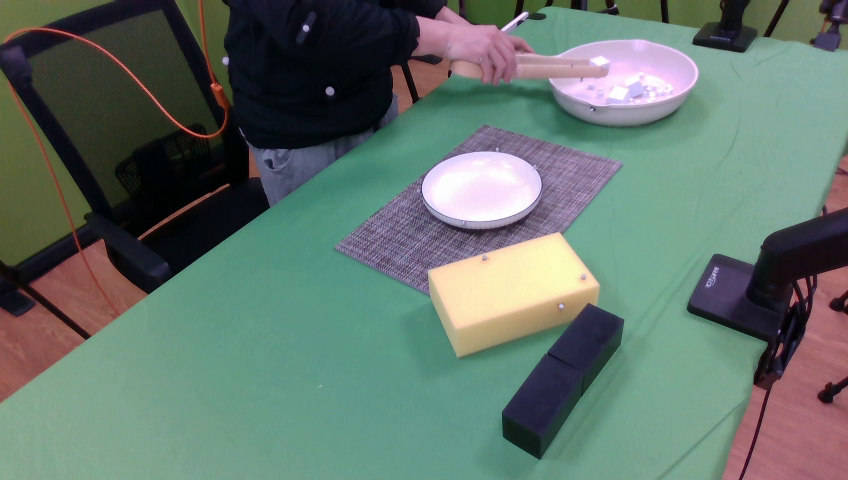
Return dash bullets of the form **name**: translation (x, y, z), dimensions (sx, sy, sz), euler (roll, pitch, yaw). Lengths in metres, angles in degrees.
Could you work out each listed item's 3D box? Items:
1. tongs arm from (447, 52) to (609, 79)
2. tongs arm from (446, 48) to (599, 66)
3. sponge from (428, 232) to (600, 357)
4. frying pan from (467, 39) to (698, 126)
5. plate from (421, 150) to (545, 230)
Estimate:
- **tongs arm**: translation (0.208, -0.325, 1.134), dimensions (0.388, 0.026, 0.050), euler (-11, 45, -36)
- **tongs arm**: translation (0.198, -0.339, 1.148), dimensions (0.390, 0.028, 0.028), euler (-8, 47, -33)
- **sponge**: translation (0.120, 0.071, 0.834), dimensions (0.207, 0.061, 0.117), euler (-16, 43, -12)
- **frying pan**: translation (0.312, -0.359, 1.278), dimensions (0.485, 0.103, 0.307), euler (23, 48, 19)
- **plate**: translation (0.100, -0.082, 1.031), dimensions (0.207, 0.039, 0.206), euler (-4, 40, 4)
